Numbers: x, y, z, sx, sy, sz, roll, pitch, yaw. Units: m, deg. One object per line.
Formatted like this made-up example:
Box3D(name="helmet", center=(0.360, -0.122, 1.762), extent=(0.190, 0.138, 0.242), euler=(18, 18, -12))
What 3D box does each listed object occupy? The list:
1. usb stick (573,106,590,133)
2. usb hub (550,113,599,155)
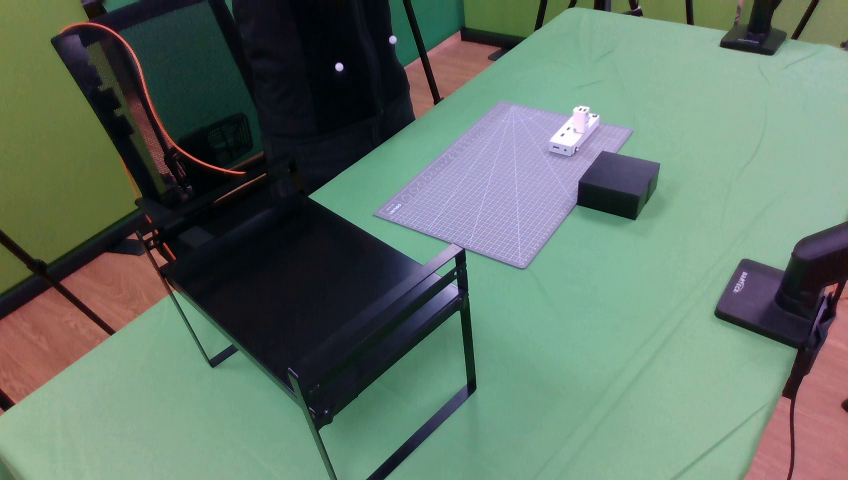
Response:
Box3D(name="usb stick", center=(0.295, -0.220, 1.137), extent=(0.027, 0.059, 0.021), euler=(22, 50, 29))
Box3D(name="usb hub", center=(0.291, -0.207, 1.166), extent=(0.049, 0.025, 0.125), euler=(21, 49, 29))
